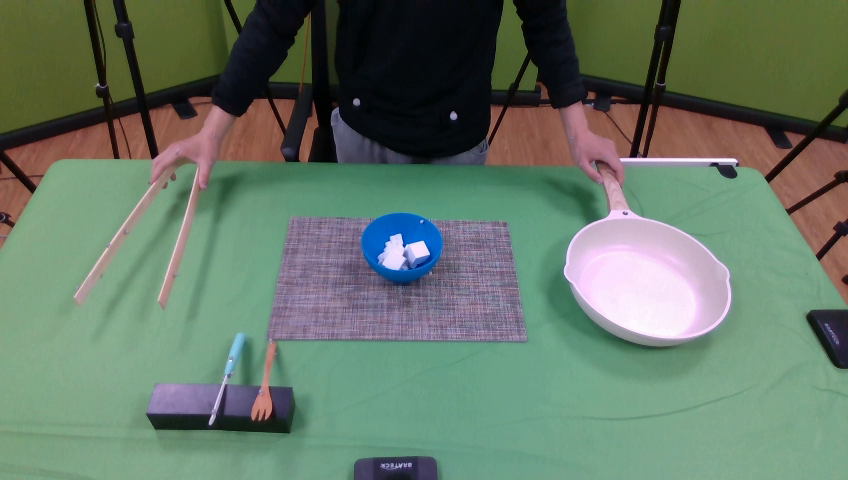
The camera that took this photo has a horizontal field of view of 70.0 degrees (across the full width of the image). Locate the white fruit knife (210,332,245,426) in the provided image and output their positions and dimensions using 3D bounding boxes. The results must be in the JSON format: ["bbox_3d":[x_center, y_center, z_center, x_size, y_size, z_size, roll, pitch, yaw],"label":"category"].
[{"bbox_3d":[-0.301,0.206,0.930,0.016,0.027,0.206,6,29,-7],"label":"white fruit knife"}]

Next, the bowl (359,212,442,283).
[{"bbox_3d":[-0.045,0.026,1.124,0.151,0.077,0.150,2,46,-2],"label":"bowl"}]

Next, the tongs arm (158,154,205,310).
[{"bbox_3d":[-0.444,-0.030,1.114,0.028,0.028,0.385,-7,47,1],"label":"tongs arm"}]

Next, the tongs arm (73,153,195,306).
[{"bbox_3d":[-0.521,-0.034,1.117,0.051,0.027,0.382,4,46,6],"label":"tongs arm"}]

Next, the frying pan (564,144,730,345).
[{"bbox_3d":[0.396,-0.008,1.179,0.307,0.103,0.484,0,55,-5],"label":"frying pan"}]

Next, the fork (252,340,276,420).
[{"bbox_3d":[-0.242,0.211,0.932,0.028,0.019,0.206,-8,27,-5],"label":"fork"}]
